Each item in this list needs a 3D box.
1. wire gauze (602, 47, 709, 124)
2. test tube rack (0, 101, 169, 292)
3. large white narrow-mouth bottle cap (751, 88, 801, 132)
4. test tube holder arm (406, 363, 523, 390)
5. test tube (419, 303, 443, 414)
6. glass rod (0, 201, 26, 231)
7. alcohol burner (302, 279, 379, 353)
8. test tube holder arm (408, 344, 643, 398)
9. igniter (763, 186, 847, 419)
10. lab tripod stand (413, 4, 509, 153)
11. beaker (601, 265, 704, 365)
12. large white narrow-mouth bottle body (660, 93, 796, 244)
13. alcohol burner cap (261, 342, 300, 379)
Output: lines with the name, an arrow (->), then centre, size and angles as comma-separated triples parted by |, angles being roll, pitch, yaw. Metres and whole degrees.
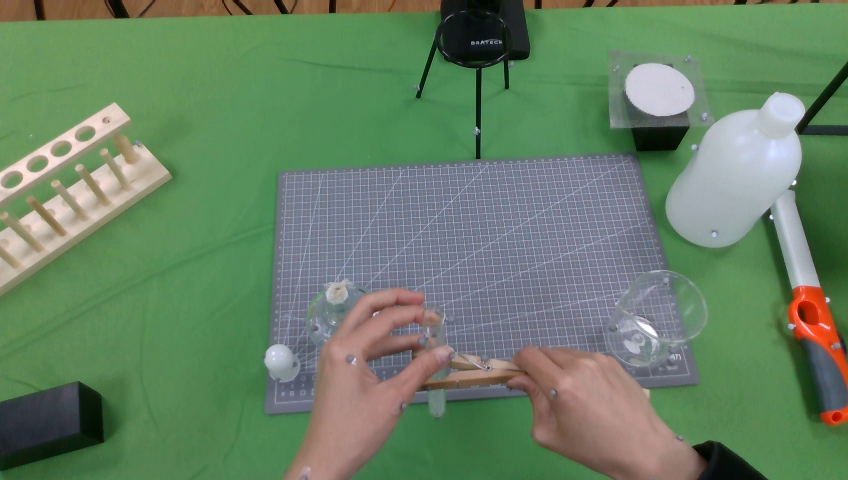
wire gauze -> 0.284, -0.192, 0.754 | 0.121, 0.011, 0.124 | 4, 62, 1
test tube rack -> -0.422, -0.045, 0.679 | 0.242, 0.086, 0.066 | -41, 70, -19
large white narrow-mouth bottle cap -> 0.331, -0.123, 0.571 | 0.038, 0.024, 0.037 | 0, 62, 0
test tube holder arm -> 0.031, 0.102, 0.460 | 0.088, 0.015, 0.010 | -6, 58, -4
test tube -> 0.006, 0.097, 0.466 | 0.017, 0.151, 0.017 | -1, 49, 1
glass rod -> -0.455, -0.068, 0.617 | 0.008, 0.201, 0.008 | 2, 53, -2
alcohol burner -> -0.085, 0.069, 0.605 | 0.078, 0.120, 0.077 | 1, 61, -2
test tube holder arm -> 0.076, 0.100, 0.462 | 0.178, 0.015, 0.013 | 8, 60, 4
igniter -> 0.418, 0.059, 0.669 | 0.057, 0.025, 0.274 | 6, 62, -9
lab tripod stand -> 0.054, -0.202, 0.742 | 0.148, 0.132, 0.147 | 1, 63, -2
beaker -> 0.222, 0.080, 0.611 | 0.084, 0.101, 0.073 | 2, 62, 1
large white narrow-mouth bottle body -> 0.330, -0.081, 0.647 | 0.102, 0.196, 0.101 | 0, 62, 0
alcohol burner cap -> -0.148, 0.121, 0.617 | 0.034, 0.048, 0.033 | -1, 65, 3
